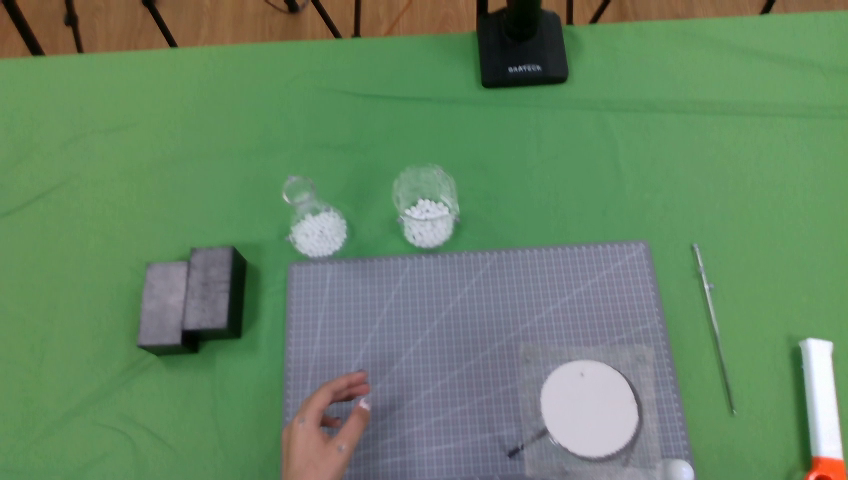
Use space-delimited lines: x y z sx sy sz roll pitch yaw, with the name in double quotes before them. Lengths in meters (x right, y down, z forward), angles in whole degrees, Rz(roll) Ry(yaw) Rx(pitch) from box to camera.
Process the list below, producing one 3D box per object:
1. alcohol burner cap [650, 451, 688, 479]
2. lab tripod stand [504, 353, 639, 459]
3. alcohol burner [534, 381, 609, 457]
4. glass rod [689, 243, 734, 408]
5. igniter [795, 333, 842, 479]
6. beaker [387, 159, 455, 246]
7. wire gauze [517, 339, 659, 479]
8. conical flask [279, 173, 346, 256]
"alcohol burner cap" 0.260 0.238 0.636 0.034 0.048 0.033 -1 68 2
"lab tripod stand" 0.152 0.177 0.615 0.148 0.132 0.147 -1 70 2
"alcohol burner" 0.154 0.182 0.624 0.078 0.120 0.077 -1 68 4
"glass rod" 0.336 0.095 0.710 0.008 0.008 0.198 -4 68 0
"igniter" 0.422 0.236 0.643 0.057 0.025 0.274 11 69 -5
"beaker" 0.001 -0.039 0.728 0.083 0.101 0.074 31 73 13
"wire gauze" 0.148 0.151 0.553 0.125 0.011 0.120 2 70 4
"conical flask" -0.138 -0.035 0.718 0.075 0.123 0.075 -1 68 2
